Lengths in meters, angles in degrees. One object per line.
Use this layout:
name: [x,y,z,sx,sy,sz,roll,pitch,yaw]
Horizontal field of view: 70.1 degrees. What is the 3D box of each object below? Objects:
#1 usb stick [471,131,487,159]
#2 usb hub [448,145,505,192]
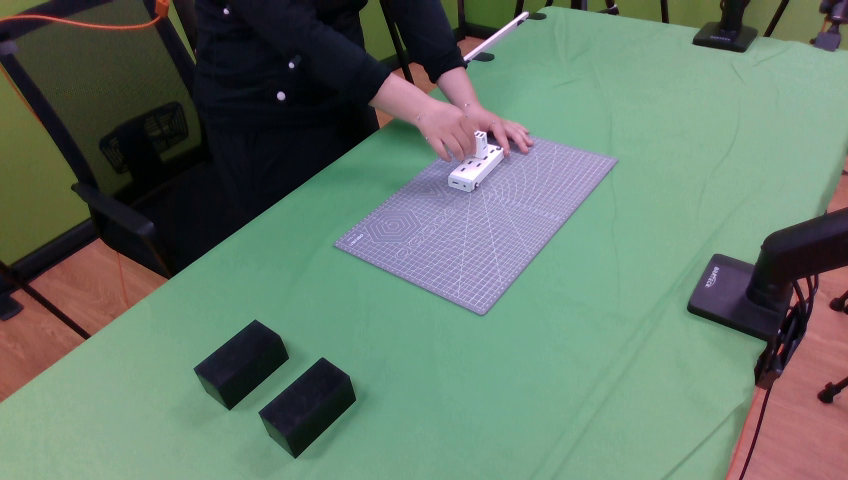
usb stick: [0.100,-0.166,1.099,0.027,0.059,0.021,20,44,25]
usb hub: [0.097,-0.132,1.106,0.049,0.025,0.125,20,47,29]
